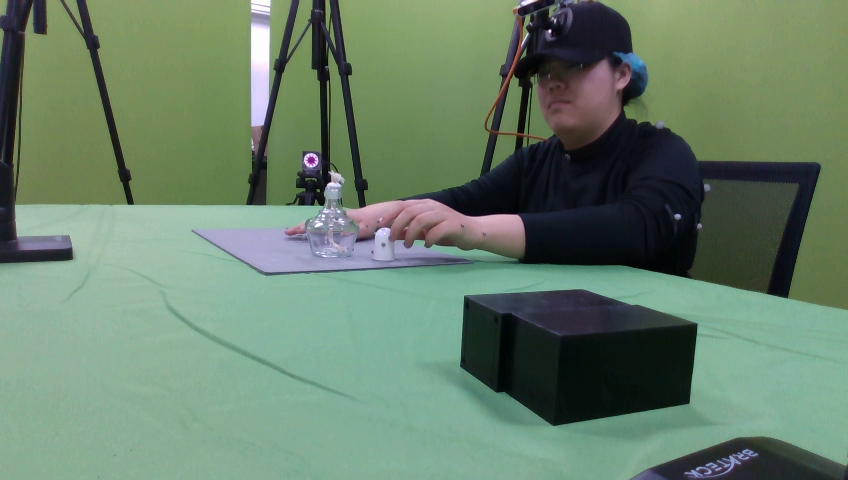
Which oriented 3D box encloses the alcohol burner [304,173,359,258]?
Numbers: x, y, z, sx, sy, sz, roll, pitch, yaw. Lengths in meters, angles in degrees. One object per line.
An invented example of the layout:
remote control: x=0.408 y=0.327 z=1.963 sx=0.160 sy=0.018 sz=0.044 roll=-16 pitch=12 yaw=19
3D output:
alcohol burner: x=-0.130 y=-0.035 z=0.851 sx=0.078 sy=0.119 sz=0.078 roll=2 pitch=5 yaw=0

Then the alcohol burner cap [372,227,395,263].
alcohol burner cap: x=-0.055 y=0.006 z=0.837 sx=0.034 sy=0.048 sz=0.034 roll=3 pitch=6 yaw=0
